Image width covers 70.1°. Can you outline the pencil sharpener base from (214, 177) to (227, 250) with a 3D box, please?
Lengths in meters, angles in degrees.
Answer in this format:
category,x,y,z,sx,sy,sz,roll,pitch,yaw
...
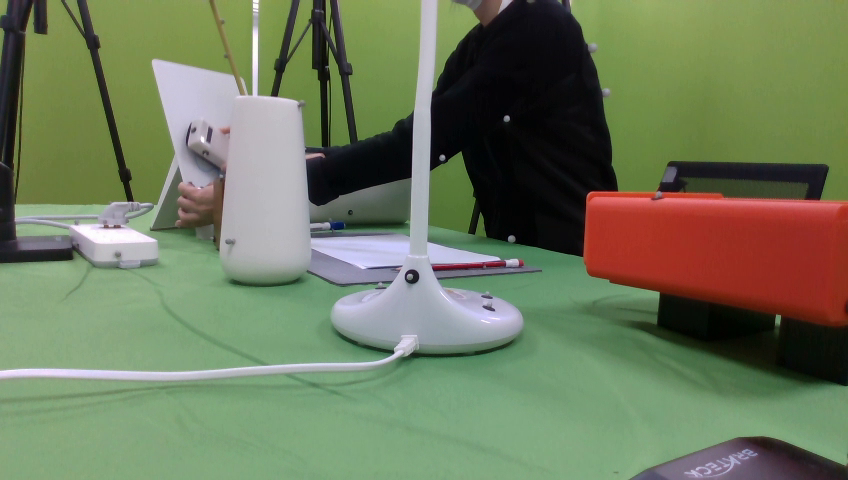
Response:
category,x,y,z,sx,sy,sz,roll,pitch,yaw
pencil sharpener base,-0.265,-0.036,0.870,0.061,0.107,0.076,-2,8,-29

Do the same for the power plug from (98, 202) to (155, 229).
category,x,y,z,sx,sy,sz,roll,pitch,yaw
power plug,-0.416,-0.026,0.848,0.073,0.052,0.035,0,8,-28

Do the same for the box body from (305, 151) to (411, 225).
category,x,y,z,sx,sy,sz,roll,pitch,yaw
box body,-0.230,-0.126,1.371,0.366,0.160,0.253,-2,9,-33

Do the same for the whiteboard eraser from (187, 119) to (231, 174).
category,x,y,z,sx,sy,sz,roll,pitch,yaw
whiteboard eraser,-0.348,-0.152,1.023,0.041,0.055,0.113,-20,-33,23

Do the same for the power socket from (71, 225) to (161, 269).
category,x,y,z,sx,sy,sz,roll,pitch,yaw
power socket,-0.408,0.004,0.793,0.072,0.032,0.225,-2,8,-38

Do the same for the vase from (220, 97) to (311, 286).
category,x,y,z,sx,sy,sz,roll,pitch,yaw
vase,-0.172,-0.052,0.662,0.098,0.200,0.098,3,9,0

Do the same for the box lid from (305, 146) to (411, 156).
category,x,y,z,sx,sy,sz,roll,pitch,yaw
box lid,-0.229,-0.200,1.360,0.373,0.015,0.262,-3,9,-33

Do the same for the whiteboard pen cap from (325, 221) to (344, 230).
category,x,y,z,sx,sy,sz,roll,pitch,yaw
whiteboard pen cap,-0.166,-0.027,1.124,0.018,0.018,0.033,9,11,40

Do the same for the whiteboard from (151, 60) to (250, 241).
category,x,y,z,sx,sy,sz,roll,pitch,yaw
whiteboard,-0.408,-0.139,1.093,0.143,0.305,0.218,-15,-1,26

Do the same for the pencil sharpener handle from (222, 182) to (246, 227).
category,x,y,z,sx,sy,sz,roll,pitch,yaw
pencil sharpener handle,-0.289,-0.055,0.912,0.036,0.067,0.030,-3,8,-29

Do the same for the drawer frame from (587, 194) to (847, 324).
category,x,y,z,sx,sy,sz,roll,pitch,yaw
drawer frame,0.285,0.004,0.508,0.203,0.082,0.212,-1,6,-29

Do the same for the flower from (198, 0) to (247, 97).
category,x,y,z,sx,sy,sz,roll,pitch,yaw
flower,-0.187,-0.133,0.648,0.038,0.362,0.044,-1,22,43

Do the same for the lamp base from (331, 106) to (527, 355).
category,x,y,z,sx,sy,sz,roll,pitch,yaw
lamp base,0.006,-0.012,0.478,0.161,0.180,0.179,2,10,2

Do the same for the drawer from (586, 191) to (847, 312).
category,x,y,z,sx,sy,sz,roll,pitch,yaw
drawer,0.281,0.001,0.513,0.195,0.073,0.210,-1,8,-29

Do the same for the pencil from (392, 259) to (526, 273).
category,x,y,z,sx,sy,sz,roll,pitch,yaw
pencil,0.049,0.035,0.782,0.195,0.012,0.012,-2,9,-25
